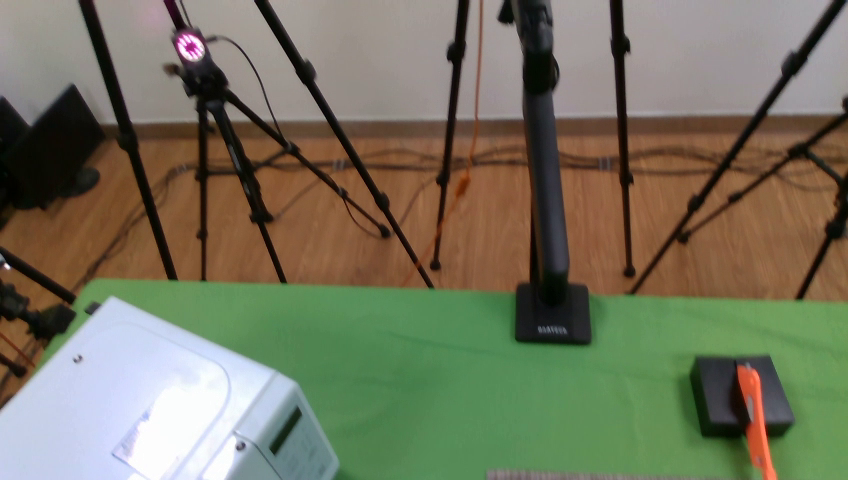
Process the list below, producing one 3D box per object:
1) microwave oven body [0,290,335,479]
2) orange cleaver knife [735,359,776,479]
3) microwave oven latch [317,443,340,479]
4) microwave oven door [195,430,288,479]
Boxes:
[{"bbox_3d":[-0.370,0.333,0.715,0.324,0.263,0.439,18,55,21],"label":"microwave oven body"},{"bbox_3d":[0.435,0.258,0.791,0.012,0.078,0.210,-4,70,8],"label":"orange cleaver knife"},{"bbox_3d":[-0.147,0.313,0.830,0.030,0.030,0.079,20,56,22],"label":"microwave oven latch"},{"bbox_3d":[-0.261,0.400,0.635,0.039,0.246,0.354,18,54,22],"label":"microwave oven door"}]
